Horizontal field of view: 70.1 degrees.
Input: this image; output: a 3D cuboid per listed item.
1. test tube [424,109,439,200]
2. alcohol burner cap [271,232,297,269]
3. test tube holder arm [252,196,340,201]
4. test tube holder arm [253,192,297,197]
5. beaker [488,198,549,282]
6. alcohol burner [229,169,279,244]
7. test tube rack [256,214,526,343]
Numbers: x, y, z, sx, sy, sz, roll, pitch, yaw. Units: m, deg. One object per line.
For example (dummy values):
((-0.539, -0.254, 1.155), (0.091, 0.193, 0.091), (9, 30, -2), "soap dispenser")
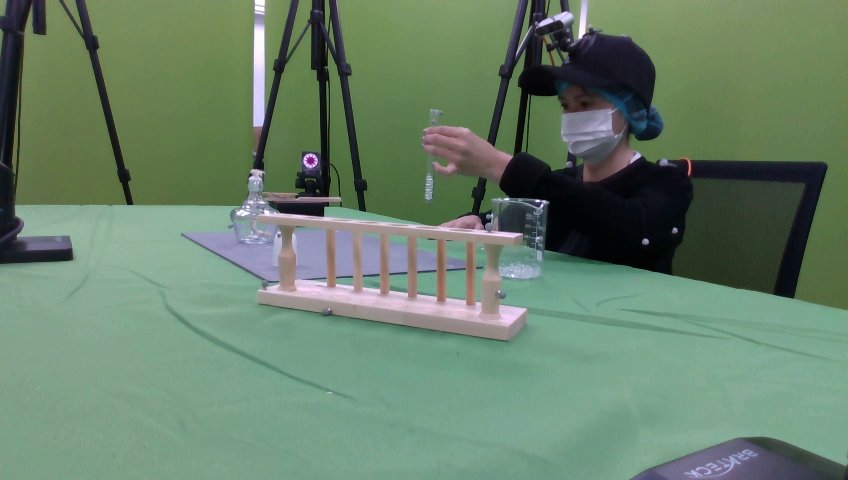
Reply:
((0.012, -0.140, 0.997), (0.017, 0.150, 0.017), (4, 11, -1), "test tube")
((-0.175, 0.012, 0.760), (0.034, 0.048, 0.034), (2, 8, 0), "alcohol burner cap")
((-0.260, -0.086, 1.242), (0.179, 0.013, 0.015), (0, 7, -25), "test tube holder arm")
((-0.301, -0.092, 1.223), (0.088, 0.010, 0.015), (0, 7, -25), "test tube holder arm")
((0.120, -0.001, 0.768), (0.074, 0.100, 0.083), (-1, 9, -25), "beaker")
((-0.268, -0.053, 0.958), (0.078, 0.119, 0.078), (2, 6, 0), "alcohol burner")
((-0.032, 0.027, 0.547), (0.241, 0.085, 0.067), (6, 7, 22), "test tube rack")
